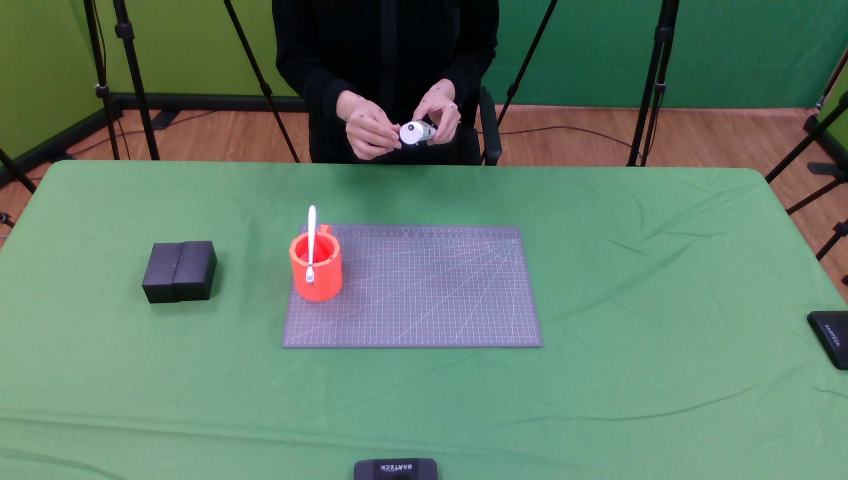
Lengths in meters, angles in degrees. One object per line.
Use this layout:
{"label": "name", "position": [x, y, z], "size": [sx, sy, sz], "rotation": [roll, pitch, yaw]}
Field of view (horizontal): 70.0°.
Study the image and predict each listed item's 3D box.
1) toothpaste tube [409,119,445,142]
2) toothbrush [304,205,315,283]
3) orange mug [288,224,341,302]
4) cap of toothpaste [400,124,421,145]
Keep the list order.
{"label": "toothpaste tube", "position": [-0.001, -0.196, 1.085], "size": [0.055, 0.034, 0.165], "rotation": [37, 20, 2]}
{"label": "toothbrush", "position": [-0.199, 0.001, 1.052], "size": [0.014, 0.017, 0.180], "rotation": [-4, 46, -4]}
{"label": "orange mug", "position": [-0.192, 0.034, 1.094], "size": [0.083, 0.101, 0.125], "rotation": [7, 50, 2]}
{"label": "cap of toothpaste", "position": [-0.022, -0.176, 1.008], "size": [0.037, 0.037, 0.011], "rotation": [8, 27, 3]}
